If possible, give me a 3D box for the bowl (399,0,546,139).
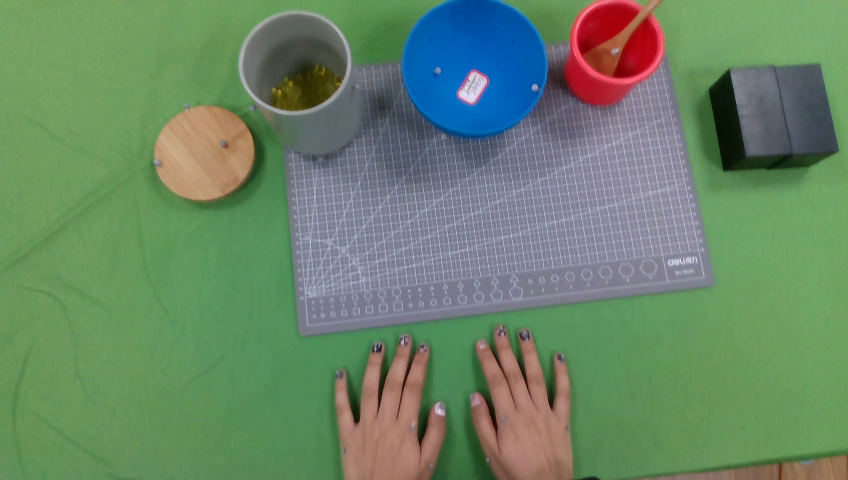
[{"bbox_3d":[0.050,-0.171,0.657,0.151,0.077,0.150,0,79,0],"label":"bowl"}]

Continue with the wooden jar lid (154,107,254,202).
[{"bbox_3d":[-0.242,-0.093,0.672,0.108,0.021,0.108,0,79,0],"label":"wooden jar lid"}]

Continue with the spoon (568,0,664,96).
[{"bbox_3d":[0.225,-0.229,0.636,0.041,0.021,0.194,48,126,9],"label":"spoon"}]

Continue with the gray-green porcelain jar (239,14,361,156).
[{"bbox_3d":[-0.121,-0.151,0.626,0.106,0.127,0.105,0,79,0],"label":"gray-green porcelain jar"}]
